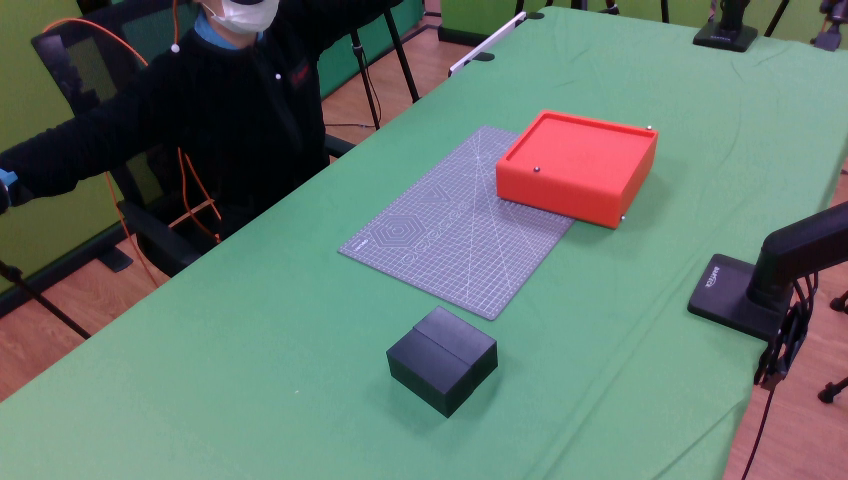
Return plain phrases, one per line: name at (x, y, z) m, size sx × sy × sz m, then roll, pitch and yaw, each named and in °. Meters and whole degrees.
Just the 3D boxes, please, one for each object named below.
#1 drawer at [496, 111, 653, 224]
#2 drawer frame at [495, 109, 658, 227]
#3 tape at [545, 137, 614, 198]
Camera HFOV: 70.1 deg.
drawer at (0.257, -0.130, 1.032) m, size 0.210 × 0.073 × 0.195 m, roll 18°, pitch 46°, yaw 26°
drawer frame at (0.260, -0.130, 1.031) m, size 0.212 × 0.083 × 0.202 m, roll 18°, pitch 46°, yaw 26°
tape at (0.264, -0.125, 1.036) m, size 0.117 × 0.053 × 0.116 m, roll -4°, pitch 40°, yaw 4°
